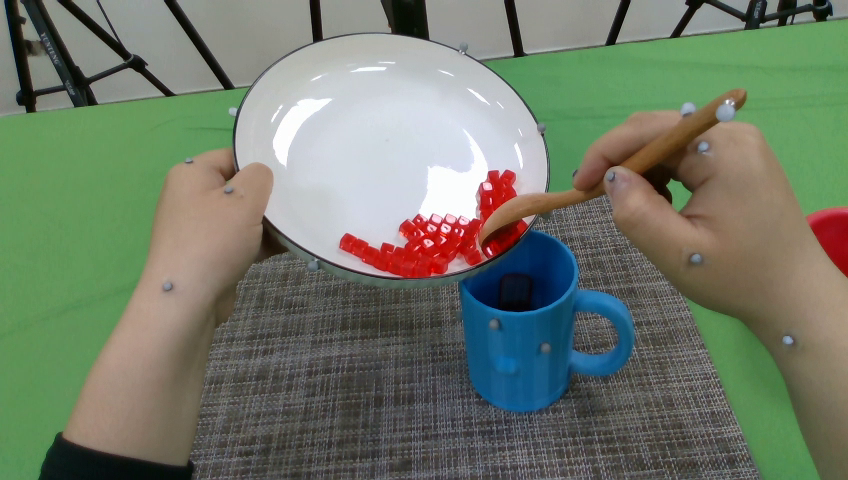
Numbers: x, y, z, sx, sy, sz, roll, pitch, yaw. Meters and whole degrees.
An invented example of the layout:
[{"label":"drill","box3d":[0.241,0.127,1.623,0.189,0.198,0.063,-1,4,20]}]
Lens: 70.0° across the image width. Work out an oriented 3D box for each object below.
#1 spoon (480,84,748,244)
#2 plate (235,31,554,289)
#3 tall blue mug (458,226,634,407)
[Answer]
[{"label":"spoon","box3d":[0.079,-0.028,0.300,0.041,0.193,0.021,-31,92,-26]},{"label":"plate","box3d":[-0.018,-0.056,0.409,0.208,0.039,0.205,5,58,-8]},{"label":"tall blue mug","box3d":[0.080,0.051,0.417,0.107,0.109,0.077,-10,43,-1]}]
